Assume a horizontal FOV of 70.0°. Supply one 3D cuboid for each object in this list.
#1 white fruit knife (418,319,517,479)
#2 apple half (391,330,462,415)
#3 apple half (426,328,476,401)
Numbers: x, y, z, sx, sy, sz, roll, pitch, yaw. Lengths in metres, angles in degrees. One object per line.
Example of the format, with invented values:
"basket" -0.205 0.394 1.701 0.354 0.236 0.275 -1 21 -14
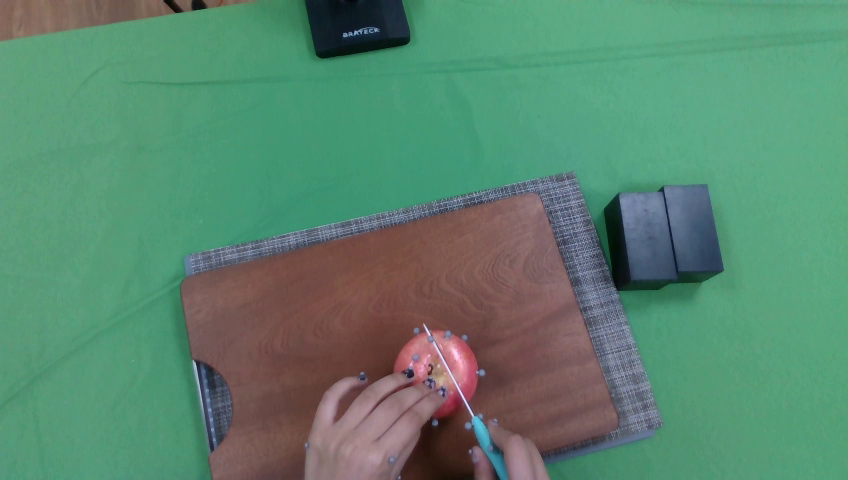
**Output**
"white fruit knife" 0.045 0.162 0.540 0.016 0.027 0.207 -29 85 -6
"apple half" -0.004 0.133 0.582 0.053 0.075 0.080 -28 80 -5
"apple half" 0.031 0.116 0.588 0.033 0.081 0.081 -27 76 -8
